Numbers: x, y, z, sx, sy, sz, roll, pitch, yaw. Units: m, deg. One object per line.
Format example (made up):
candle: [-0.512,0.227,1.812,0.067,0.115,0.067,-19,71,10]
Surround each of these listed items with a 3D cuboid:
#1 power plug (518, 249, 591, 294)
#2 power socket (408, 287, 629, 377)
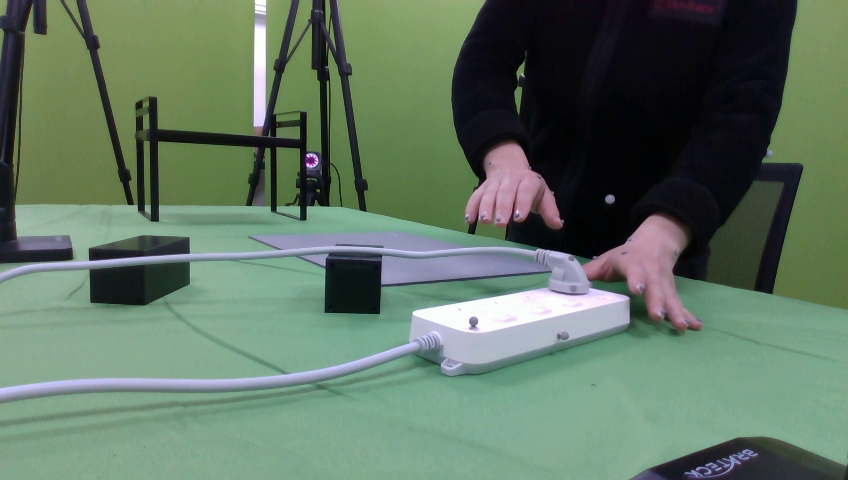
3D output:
power plug: [0.120,0.037,0.554,0.035,0.052,0.072,-1,9,-32]
power socket: [0.084,0.065,0.485,0.228,0.032,0.072,-5,10,-42]
